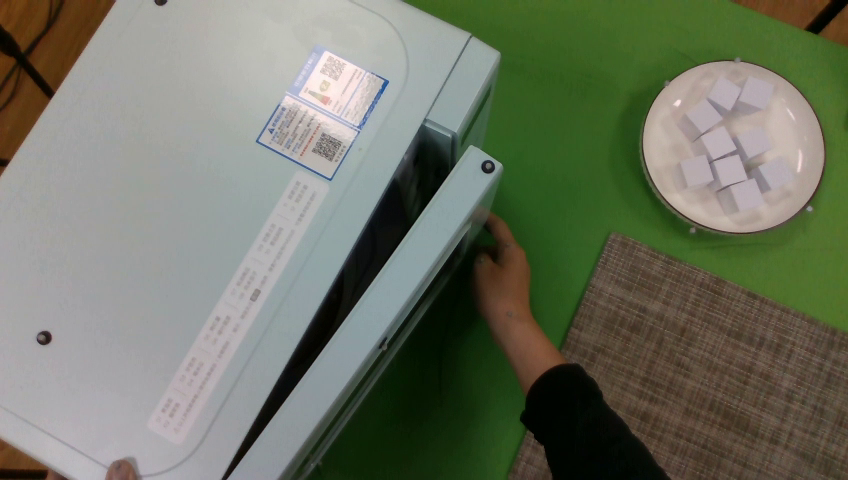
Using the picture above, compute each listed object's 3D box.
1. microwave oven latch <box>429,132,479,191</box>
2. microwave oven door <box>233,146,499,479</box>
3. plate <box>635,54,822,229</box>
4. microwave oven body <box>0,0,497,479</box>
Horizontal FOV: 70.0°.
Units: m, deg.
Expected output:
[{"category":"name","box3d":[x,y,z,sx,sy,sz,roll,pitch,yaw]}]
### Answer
[{"category":"microwave oven latch","box3d":[0.034,-0.094,0.685,0.030,0.029,0.079,30,83,5]},{"category":"microwave oven door","box3d":[-0.054,0.093,0.554,0.039,0.244,0.355,35,83,7]},{"category":"plate","box3d":[0.347,-0.111,0.703,0.208,0.039,0.207,0,81,1]},{"category":"microwave oven body","box3d":[-0.182,-0.022,0.579,0.325,0.261,0.441,27,83,4]}]
